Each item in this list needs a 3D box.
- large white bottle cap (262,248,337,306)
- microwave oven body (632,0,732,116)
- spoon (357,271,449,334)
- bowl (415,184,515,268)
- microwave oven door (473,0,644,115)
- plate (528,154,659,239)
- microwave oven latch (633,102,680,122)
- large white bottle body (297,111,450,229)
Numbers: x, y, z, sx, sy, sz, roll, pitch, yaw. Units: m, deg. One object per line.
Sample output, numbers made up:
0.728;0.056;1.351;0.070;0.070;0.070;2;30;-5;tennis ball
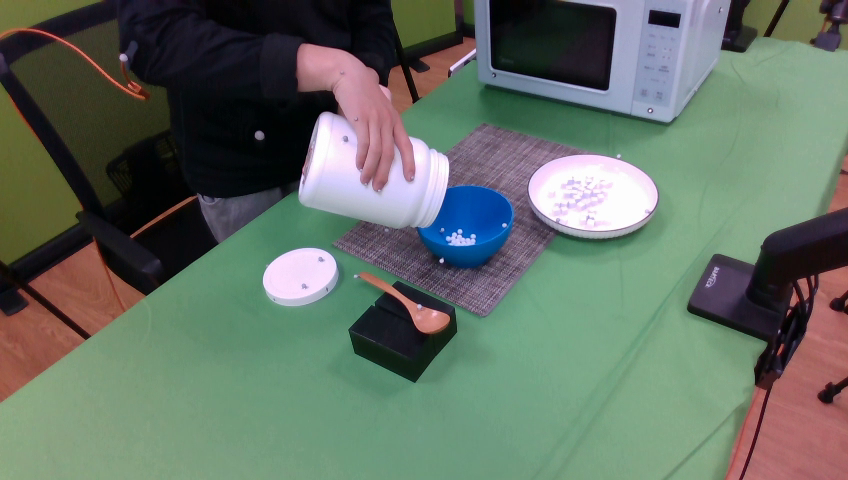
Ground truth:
-0.193;0.056;0.934;0.115;0.018;0.114;-4;41;4;large white bottle cap
0.377;-0.463;1.267;0.438;0.261;0.327;21;48;30;microwave oven body
-0.035;0.078;0.812;0.042;0.022;0.192;-34;42;-24;spoon
0.063;-0.011;0.922;0.151;0.077;0.150;-4;40;4;bowl
0.257;-0.396;1.199;0.353;0.245;0.039;21;48;29;microwave oven door
0.274;-0.069;0.993;0.209;0.038;0.208;-2;42;2;plate
0.444;-0.249;1.157;0.078;0.029;0.030;21;49;30;microwave oven latch
-0.069;-0.090;0.833;0.186;0.130;0.130;14;37;-17;large white bottle body
